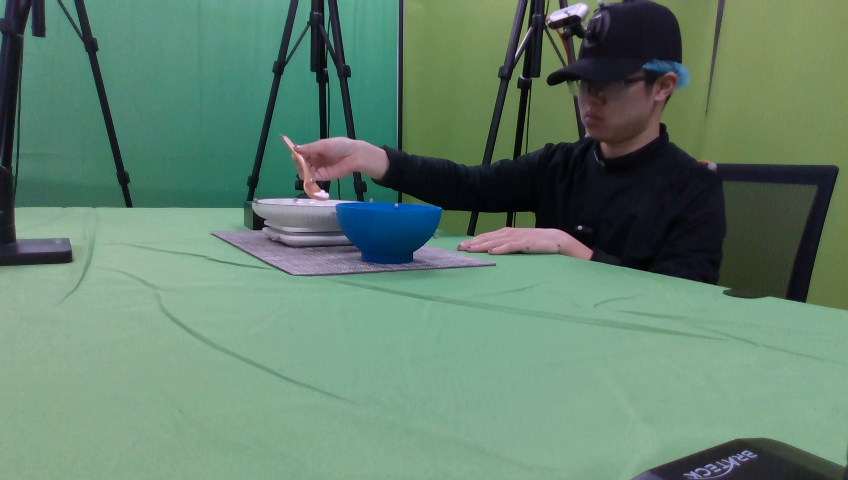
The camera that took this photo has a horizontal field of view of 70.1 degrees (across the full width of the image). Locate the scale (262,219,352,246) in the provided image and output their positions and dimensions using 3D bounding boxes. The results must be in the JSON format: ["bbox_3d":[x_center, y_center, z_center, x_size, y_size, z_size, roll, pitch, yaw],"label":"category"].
[{"bbox_3d":[-0.160,-0.015,1.027,0.202,0.031,0.148,-2,8,-32],"label":"scale"}]

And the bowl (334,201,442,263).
[{"bbox_3d":[-0.051,-0.012,0.849,0.151,0.077,0.151,2,7,0],"label":"bowl"}]

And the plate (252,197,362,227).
[{"bbox_3d":[-0.178,-0.047,1.012,0.209,0.038,0.209,2,6,0],"label":"plate"}]

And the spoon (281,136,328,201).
[{"bbox_3d":[-0.212,-0.127,1.050,0.042,0.021,0.193,11,37,-43],"label":"spoon"}]
